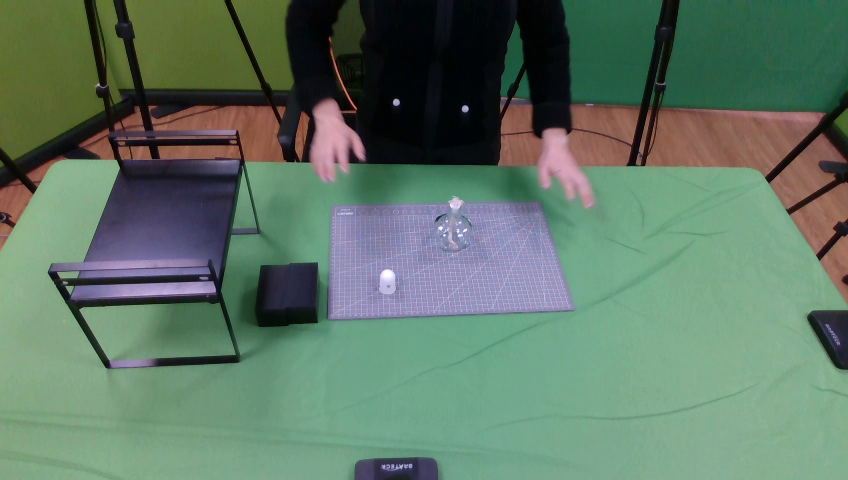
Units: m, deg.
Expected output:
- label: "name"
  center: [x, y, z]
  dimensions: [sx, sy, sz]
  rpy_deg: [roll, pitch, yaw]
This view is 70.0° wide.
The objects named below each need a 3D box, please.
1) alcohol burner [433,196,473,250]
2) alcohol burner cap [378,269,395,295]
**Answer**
- label: "alcohol burner"
  center: [0.058, -0.038, 1.169]
  dimensions: [0.078, 0.119, 0.077]
  rpy_deg: [3, 45, -3]
- label: "alcohol burner cap"
  center: [-0.068, 0.074, 1.103]
  dimensions: [0.034, 0.048, 0.033]
  rpy_deg: [3, 45, -3]
